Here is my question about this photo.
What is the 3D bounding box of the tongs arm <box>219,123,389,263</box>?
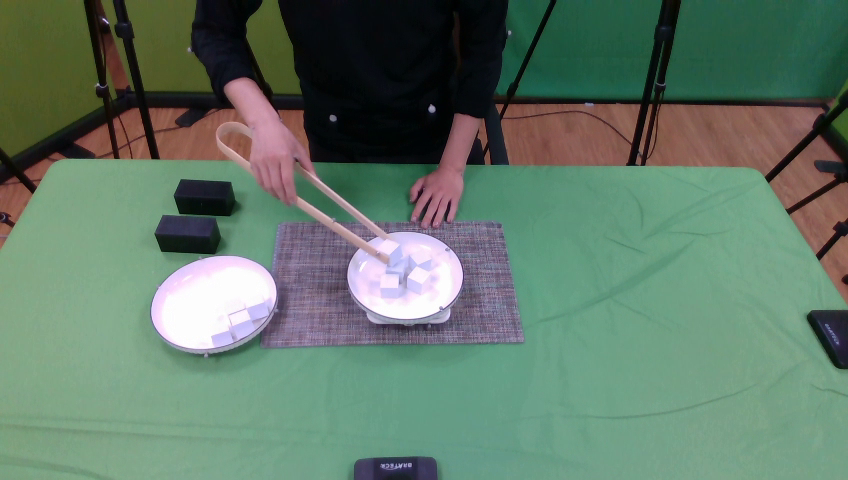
[{"bbox_3d":[-0.212,-0.084,1.069,0.384,0.026,0.050,33,61,4],"label":"tongs arm"}]

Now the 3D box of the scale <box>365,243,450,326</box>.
[{"bbox_3d":[-0.032,0.071,1.113,0.149,0.032,0.199,0,46,-4],"label":"scale"}]

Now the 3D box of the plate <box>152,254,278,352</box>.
[{"bbox_3d":[-0.357,0.111,1.052,0.208,0.039,0.206,2,46,-2],"label":"plate"}]

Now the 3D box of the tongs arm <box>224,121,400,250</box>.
[{"bbox_3d":[-0.199,-0.100,1.080,0.387,0.028,0.028,36,65,6],"label":"tongs arm"}]

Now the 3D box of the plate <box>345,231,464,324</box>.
[{"bbox_3d":[-0.034,0.069,1.069,0.209,0.038,0.208,2,46,-2],"label":"plate"}]
